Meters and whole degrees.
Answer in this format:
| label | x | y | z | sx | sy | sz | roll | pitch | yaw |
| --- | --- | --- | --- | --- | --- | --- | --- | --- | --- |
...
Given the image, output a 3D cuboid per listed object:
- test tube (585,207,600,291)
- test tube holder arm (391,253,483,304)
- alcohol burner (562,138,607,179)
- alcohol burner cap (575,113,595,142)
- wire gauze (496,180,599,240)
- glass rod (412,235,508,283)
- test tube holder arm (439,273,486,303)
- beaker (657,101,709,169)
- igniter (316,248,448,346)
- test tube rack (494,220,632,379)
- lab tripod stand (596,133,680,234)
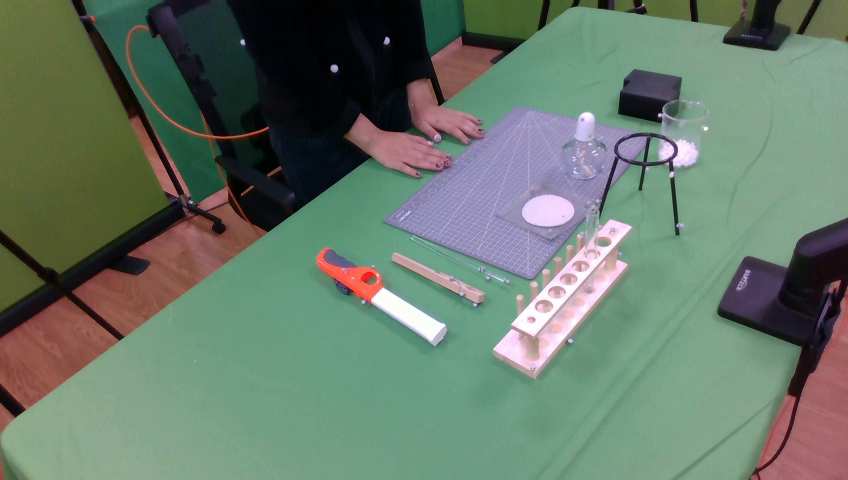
| label | x | y | z | sx | sy | sz | roll | pitch | yaw |
| --- | --- | --- | --- | --- | --- | --- | --- | --- | --- |
| test tube | 0.222 | 0.016 | 0.797 | 0.017 | 0.151 | 0.017 | -6 | 45 | 7 |
| test tube holder arm | 0.016 | 0.056 | 0.917 | 0.177 | 0.015 | 0.013 | 24 | 17 | 34 |
| alcohol burner | 0.280 | -0.167 | 1.052 | 0.078 | 0.119 | 0.077 | -5 | 39 | 4 |
| alcohol burner cap | 0.276 | -0.194 | 1.028 | 0.034 | 0.048 | 0.033 | -2 | 45 | 3 |
| wire gauze | 0.206 | -0.050 | 1.012 | 0.125 | 0.011 | 0.120 | -34 | 45 | -26 |
| glass rod | 0.051 | 0.028 | 0.951 | 0.198 | 0.008 | 0.008 | 25 | 51 | 37 |
| test tube holder arm | 0.053 | 0.070 | 0.896 | 0.087 | 0.015 | 0.010 | 24 | 17 | 34 |
| beaker | 0.449 | -0.183 | 1.054 | 0.073 | 0.101 | 0.084 | 15 | 46 | 27 |
| igniter | -0.074 | 0.078 | 0.902 | 0.274 | 0.025 | 0.057 | 28 | 63 | 36 |
| test tube rack | 0.191 | 0.068 | 0.818 | 0.066 | 0.085 | 0.243 | 25 | 51 | 35 |
| lab tripod stand | 0.338 | -0.090 | 0.940 | 0.148 | 0.132 | 0.147 | -7 | 39 | 6 |
